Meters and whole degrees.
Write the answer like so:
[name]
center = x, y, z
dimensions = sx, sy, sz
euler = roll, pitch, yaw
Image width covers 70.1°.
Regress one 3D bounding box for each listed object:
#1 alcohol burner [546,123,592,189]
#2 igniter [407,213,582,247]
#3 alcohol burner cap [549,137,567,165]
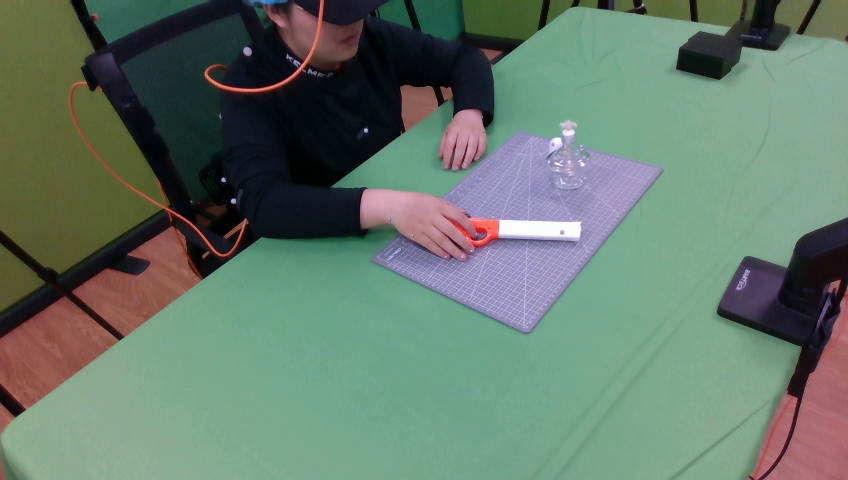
[alcohol burner]
center = 0.248, -0.147, 1.035
dimensions = 0.078, 0.120, 0.077
euler = -7, 41, 6
[igniter]
center = 0.110, -0.016, 0.968
dimensions = 0.276, 0.025, 0.057
euler = 1, 66, 9
[alcohol burner cap]
center = 0.247, -0.166, 1.114
dimensions = 0.034, 0.048, 0.033
euler = -6, 40, 5
